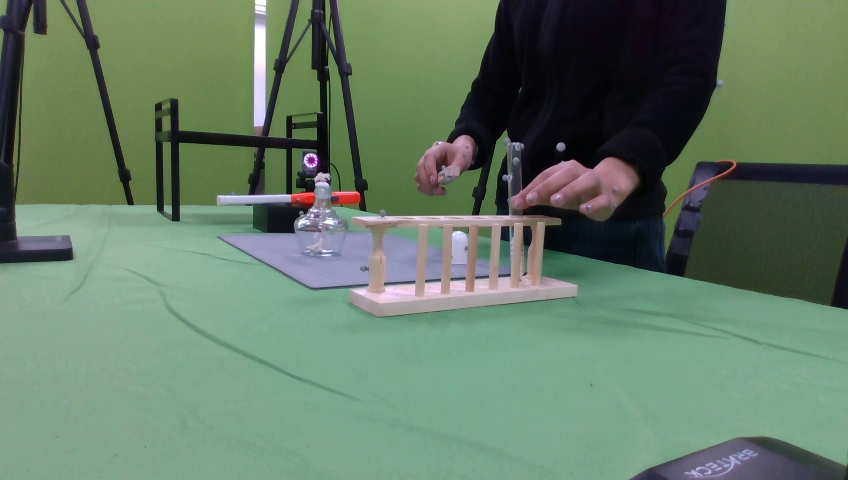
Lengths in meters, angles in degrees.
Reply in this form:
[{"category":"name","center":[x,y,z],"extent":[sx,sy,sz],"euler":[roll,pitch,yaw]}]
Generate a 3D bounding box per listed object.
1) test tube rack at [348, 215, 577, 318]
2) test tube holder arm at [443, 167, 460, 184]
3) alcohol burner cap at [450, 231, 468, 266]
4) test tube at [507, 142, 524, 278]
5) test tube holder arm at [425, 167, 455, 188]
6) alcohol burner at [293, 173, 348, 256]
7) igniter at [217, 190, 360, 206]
[{"category":"test tube rack","center":[0.048,0.020,0.619],"extent":[0.244,0.085,0.066],"euler":[-2,8,-31]},{"category":"test tube holder arm","center":[0.035,-0.088,0.835],"extent":[0.010,0.015,0.087],"euler":[14,-3,-9]},{"category":"alcohol burner cap","center":[0.046,0.012,0.839],"extent":[0.034,0.048,0.034],"euler":[3,5,0]},{"category":"test tube","center":[0.101,-0.032,0.666],"extent":[0.017,0.150,0.017],"euler":[-2,6,1]},{"category":"test tube holder arm","center":[0.021,-0.089,0.878],"extent":[0.013,0.015,0.178],"euler":[14,-3,-11]},{"category":"alcohol burner","center":[-0.147,-0.036,0.859],"extent":[0.078,0.119,0.078],"euler":[4,8,0]},{"category":"igniter","center":[-0.248,-0.080,1.150],"extent":[0.278,0.025,0.057],"euler":[-5,8,-29]}]
